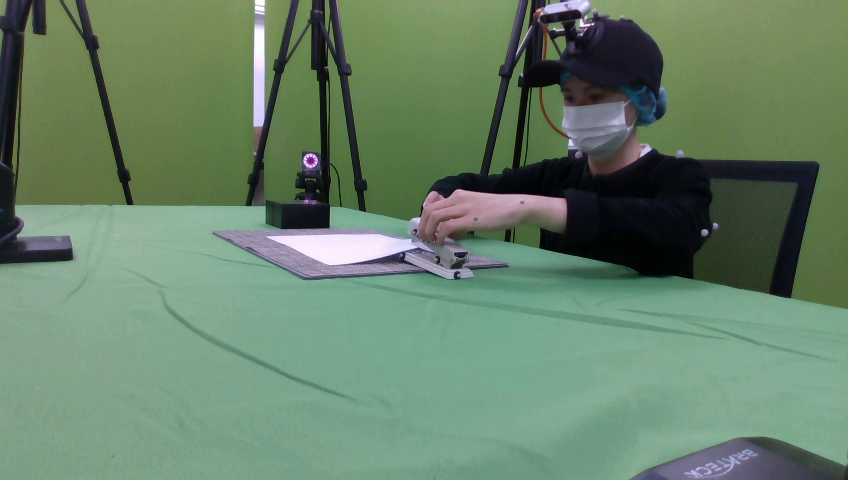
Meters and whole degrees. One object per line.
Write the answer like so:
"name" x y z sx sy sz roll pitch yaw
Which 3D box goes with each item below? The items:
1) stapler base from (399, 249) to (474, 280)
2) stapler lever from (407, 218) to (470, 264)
"stapler base" 0.014 0.024 0.788 0.041 0.024 0.130 -4 15 -32
"stapler lever" 0.017 0.000 0.782 0.027 0.040 0.117 -4 15 -32
